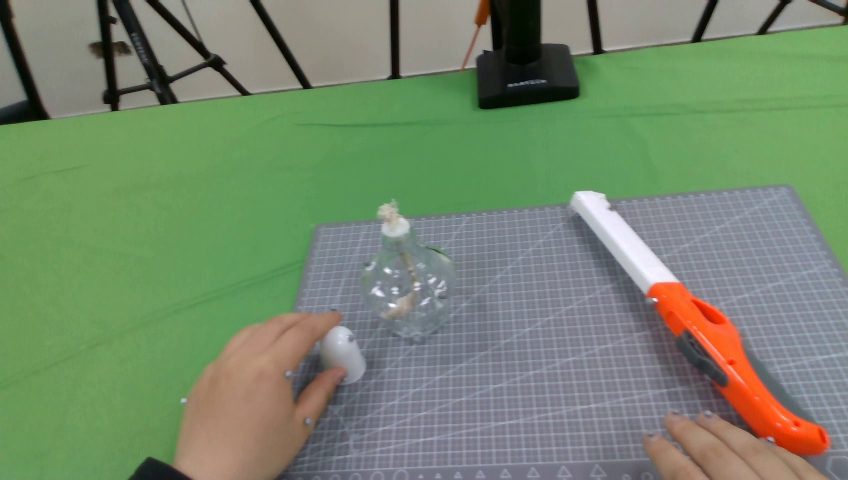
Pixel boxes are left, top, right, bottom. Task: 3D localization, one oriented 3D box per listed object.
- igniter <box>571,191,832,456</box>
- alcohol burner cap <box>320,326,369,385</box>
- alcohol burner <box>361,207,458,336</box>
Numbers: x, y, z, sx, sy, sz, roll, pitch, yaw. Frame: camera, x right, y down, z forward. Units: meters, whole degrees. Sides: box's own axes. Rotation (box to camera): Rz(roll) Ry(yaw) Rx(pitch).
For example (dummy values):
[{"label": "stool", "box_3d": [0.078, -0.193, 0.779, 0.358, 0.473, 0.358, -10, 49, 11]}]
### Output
[{"label": "igniter", "box_3d": [0.190, 0.044, 0.459, 0.057, 0.025, 0.273, 0, 37, -21]}, {"label": "alcohol burner cap", "box_3d": [-0.062, 0.085, 0.462, 0.034, 0.048, 0.033, -6, 44, 6]}, {"label": "alcohol burner", "box_3d": [-0.014, 0.020, 0.467, 0.078, 0.120, 0.077, -5, 45, 5]}]
